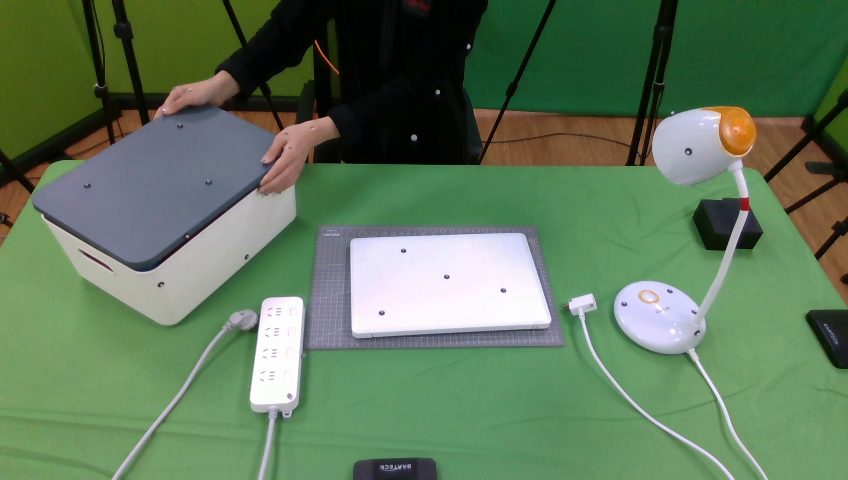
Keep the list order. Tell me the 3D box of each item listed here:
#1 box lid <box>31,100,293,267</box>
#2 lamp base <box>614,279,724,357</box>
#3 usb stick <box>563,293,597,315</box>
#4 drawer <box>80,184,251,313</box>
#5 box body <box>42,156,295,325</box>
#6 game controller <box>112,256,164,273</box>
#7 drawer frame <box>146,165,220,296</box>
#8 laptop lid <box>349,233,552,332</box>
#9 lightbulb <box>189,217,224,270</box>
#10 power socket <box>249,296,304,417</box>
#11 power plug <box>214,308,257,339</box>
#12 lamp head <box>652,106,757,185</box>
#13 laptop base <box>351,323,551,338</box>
[{"bbox_3d":[-0.434,-0.114,1.037,0.262,0.015,0.370,26,49,17],"label":"box lid"},{"bbox_3d":[0.436,0.090,1.034,0.161,0.181,0.178,-23,55,-23],"label":"lamp base"},{"bbox_3d":[0.280,0.118,1.092,0.059,0.021,0.027,-18,35,25],"label":"usb stick"},{"bbox_3d":[-0.456,0.009,1.089,0.194,0.073,0.211,26,44,16],"label":"drawer"},{"bbox_3d":[-0.437,-0.046,1.110,0.253,0.161,0.363,24,49,19],"label":"box body"},{"bbox_3d":[-0.465,0.003,1.042,0.097,0.052,0.154,7,47,0],"label":"game controller"},{"bbox_3d":[-0.433,-0.028,1.066,0.083,0.214,0.201,-11,12,-31],"label":"drawer frame"},{"bbox_3d":[0.040,0.070,1.119,0.357,0.013,0.240,-1,44,-5],"label":"laptop lid"},{"bbox_3d":[-0.406,0.007,1.114,0.059,0.060,0.107,8,59,3],"label":"lightbulb"},{"bbox_3d":[-0.239,0.182,0.996,0.072,0.033,0.225,-2,47,-5],"label":"power socket"},{"bbox_3d":[-0.317,0.143,1.024,0.072,0.053,0.035,-32,58,-8],"label":"power plug"},{"bbox_3d":[0.410,-0.139,0.869,0.113,0.122,0.112,0,89,-19],"label":"lamp head"},{"bbox_3d":[0.039,0.080,1.125,0.355,0.023,0.234,-2,43,-6],"label":"laptop base"}]
